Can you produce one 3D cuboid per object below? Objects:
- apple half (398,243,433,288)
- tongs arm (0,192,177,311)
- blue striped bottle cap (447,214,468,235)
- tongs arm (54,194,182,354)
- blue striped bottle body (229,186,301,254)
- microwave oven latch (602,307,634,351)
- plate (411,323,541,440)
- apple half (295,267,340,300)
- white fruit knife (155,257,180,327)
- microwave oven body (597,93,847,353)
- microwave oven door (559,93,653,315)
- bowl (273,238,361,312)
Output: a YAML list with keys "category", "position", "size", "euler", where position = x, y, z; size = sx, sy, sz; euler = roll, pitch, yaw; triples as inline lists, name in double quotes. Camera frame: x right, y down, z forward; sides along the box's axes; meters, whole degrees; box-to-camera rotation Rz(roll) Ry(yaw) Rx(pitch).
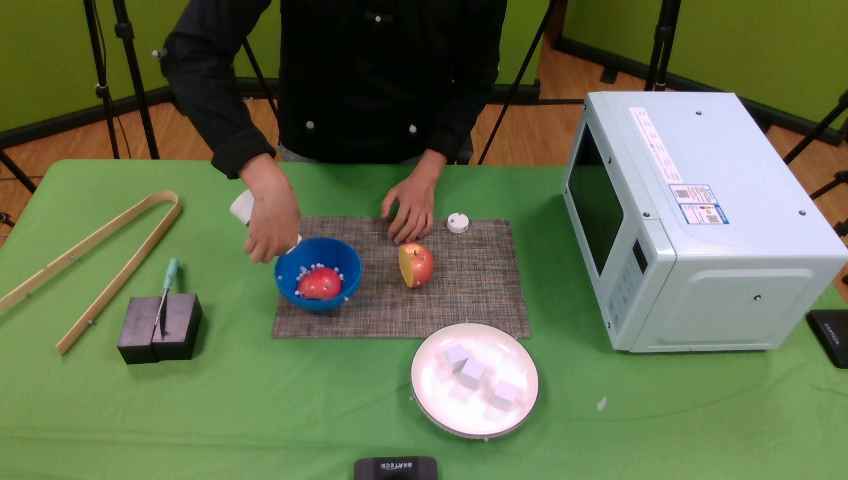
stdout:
- category: "apple half"
  position: [-0.011, 0.046, 1.115]
  size: [0.053, 0.075, 0.080]
  euler: [-11, 44, -19]
- category: "tongs arm"
  position: [-0.618, 0.019, 1.124]
  size: [0.050, 0.026, 0.384]
  euler: [23, 47, 17]
- category: "blue striped bottle cap"
  position: [0.069, -0.033, 1.239]
  size: [0.044, 0.021, 0.044]
  euler: [1, 46, -1]
- category: "tongs arm"
  position: [-0.543, 0.048, 1.107]
  size: [0.028, 0.028, 0.385]
  euler: [11, 45, 10]
- category: "blue striped bottle body"
  position: [-0.265, -0.030, 1.027]
  size: [0.121, 0.063, 0.063]
  euler: [43, 52, -3]
- category: "microwave oven latch"
  position: [0.332, 0.153, 1.044]
  size: [0.030, 0.029, 0.078]
  euler: [-1, 45, -4]
- category: "plate"
  position: [0.082, 0.228, 0.976]
  size: [0.208, 0.039, 0.206]
  euler: [2, 45, -2]
- category: "apple half"
  position: [-0.187, 0.070, 1.067]
  size: [0.081, 0.033, 0.081]
  euler: [3, 47, -3]
- category: "white fruit knife"
  position: [-0.440, 0.085, 1.037]
  size: [0.016, 0.027, 0.206]
  euler: [10, 26, -19]
- category: "microwave oven body"
  position: [0.475, -0.041, 1.109]
  size: [0.326, 0.261, 0.438]
  euler: [-1, 45, -4]
- category: "microwave oven door"
  position: [0.327, -0.074, 1.123]
  size: [0.039, 0.245, 0.353]
  euler: [-1, 46, -5]
- category: "bowl"
  position: [-0.186, 0.075, 1.070]
  size: [0.151, 0.077, 0.150]
  euler: [3, 45, -3]
